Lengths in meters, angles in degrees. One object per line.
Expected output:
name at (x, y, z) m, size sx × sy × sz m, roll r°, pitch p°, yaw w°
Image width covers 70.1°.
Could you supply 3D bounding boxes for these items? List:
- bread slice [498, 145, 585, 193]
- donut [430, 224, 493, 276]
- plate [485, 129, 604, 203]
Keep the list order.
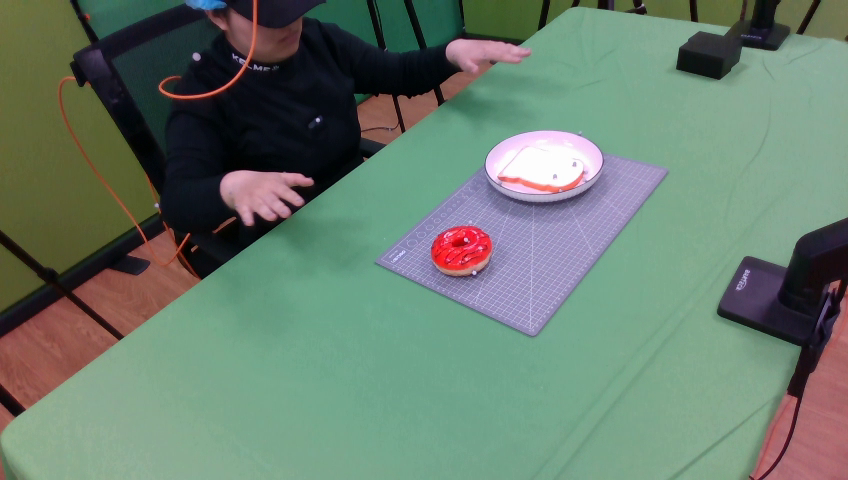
bread slice at (0.215, -0.125, 1.076) m, size 0.133 × 0.018 × 0.107 m, roll 16°, pitch 48°, yaw 28°
donut at (0.057, 0.014, 0.934) m, size 0.099 × 0.048 × 0.098 m, roll -7°, pitch 40°, yaw 6°
plate at (0.213, -0.129, 1.079) m, size 0.209 × 0.038 × 0.208 m, roll -5°, pitch 40°, yaw 5°
